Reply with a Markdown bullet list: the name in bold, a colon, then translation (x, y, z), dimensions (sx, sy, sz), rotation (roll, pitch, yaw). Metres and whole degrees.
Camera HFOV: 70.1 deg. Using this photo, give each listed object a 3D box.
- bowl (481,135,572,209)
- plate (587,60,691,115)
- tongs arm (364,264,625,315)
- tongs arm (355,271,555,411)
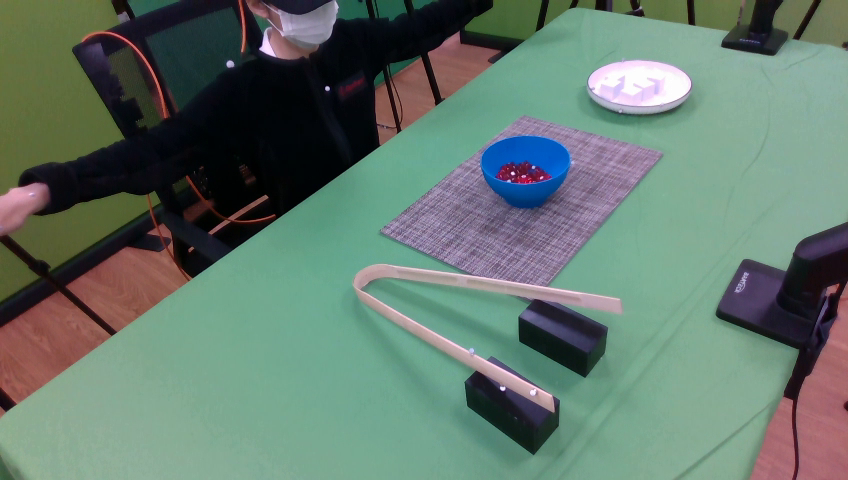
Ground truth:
- **bowl**: translation (0.172, -0.106, 1.025), dimensions (0.151, 0.077, 0.150), rotation (-4, 40, 4)
- **plate**: translation (0.445, -0.313, 1.263), dimensions (0.209, 0.038, 0.208), rotation (-5, 40, 4)
- **tongs arm**: translation (0.079, 0.066, 0.828), dimensions (0.385, 0.028, 0.028), rotation (6, 44, 32)
- **tongs arm**: translation (0.023, 0.115, 0.778), dimensions (0.051, 0.027, 0.381), rotation (-39, 38, -28)
